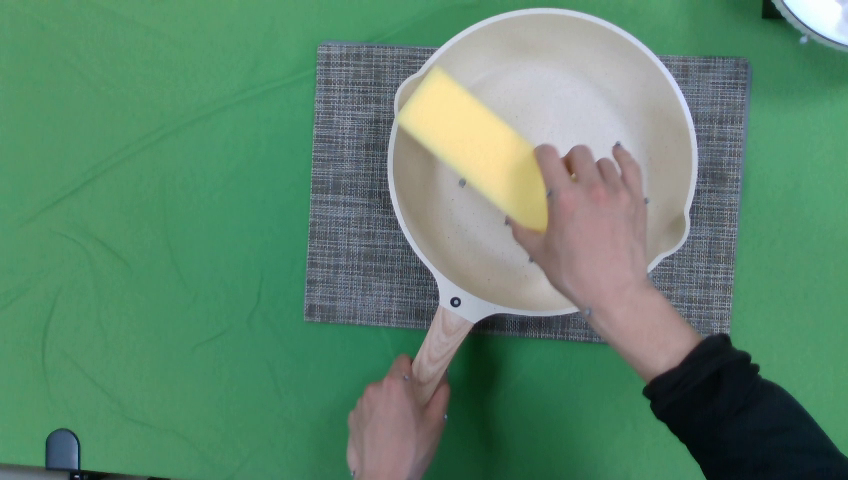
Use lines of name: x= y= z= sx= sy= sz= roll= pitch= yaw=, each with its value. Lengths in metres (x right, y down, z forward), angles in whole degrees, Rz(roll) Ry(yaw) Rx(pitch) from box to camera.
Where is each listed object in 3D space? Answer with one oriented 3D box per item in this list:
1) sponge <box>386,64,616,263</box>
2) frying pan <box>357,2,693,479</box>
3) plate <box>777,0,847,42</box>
sponge: x=0.074 y=-0.069 z=0.569 sx=0.206 sy=0.118 sz=0.061 roll=39 pitch=99 yaw=8
frying pan: x=0.058 y=0.011 z=0.596 sx=0.306 sy=0.103 sz=0.487 roll=29 pitch=85 yaw=4
plate: x=0.402 y=-0.278 z=0.548 sx=0.207 sy=0.039 sz=0.207 roll=0 pitch=92 yaw=3
